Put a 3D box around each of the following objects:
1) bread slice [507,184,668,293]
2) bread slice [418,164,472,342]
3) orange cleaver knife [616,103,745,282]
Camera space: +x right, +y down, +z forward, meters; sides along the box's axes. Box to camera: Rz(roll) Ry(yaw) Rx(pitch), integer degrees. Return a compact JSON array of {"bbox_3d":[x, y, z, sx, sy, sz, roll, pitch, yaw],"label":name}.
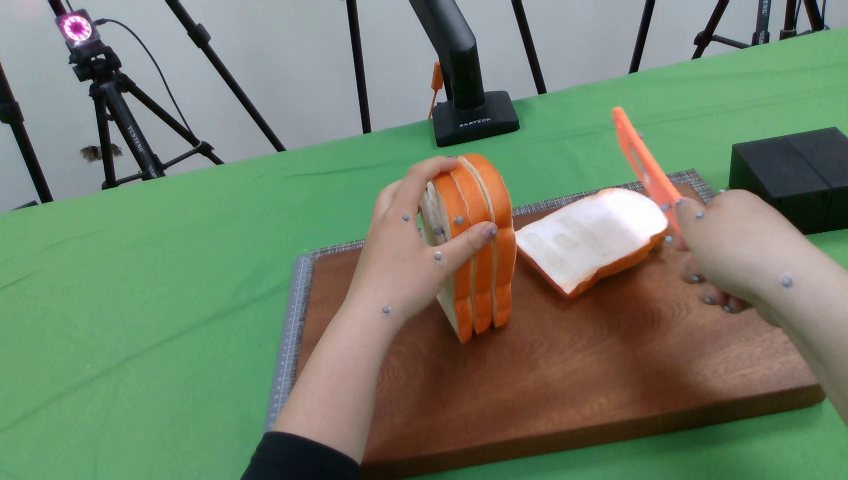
[{"bbox_3d":[0.159,-0.006,0.567,0.131,0.019,0.103,-26,36,-8],"label":"bread slice"},{"bbox_3d":[0.016,0.003,0.521,0.018,0.135,0.106,-12,33,-12],"label":"bread slice"},{"bbox_3d":[0.189,-0.034,0.465,0.012,0.078,0.209,-24,40,12],"label":"orange cleaver knife"}]
